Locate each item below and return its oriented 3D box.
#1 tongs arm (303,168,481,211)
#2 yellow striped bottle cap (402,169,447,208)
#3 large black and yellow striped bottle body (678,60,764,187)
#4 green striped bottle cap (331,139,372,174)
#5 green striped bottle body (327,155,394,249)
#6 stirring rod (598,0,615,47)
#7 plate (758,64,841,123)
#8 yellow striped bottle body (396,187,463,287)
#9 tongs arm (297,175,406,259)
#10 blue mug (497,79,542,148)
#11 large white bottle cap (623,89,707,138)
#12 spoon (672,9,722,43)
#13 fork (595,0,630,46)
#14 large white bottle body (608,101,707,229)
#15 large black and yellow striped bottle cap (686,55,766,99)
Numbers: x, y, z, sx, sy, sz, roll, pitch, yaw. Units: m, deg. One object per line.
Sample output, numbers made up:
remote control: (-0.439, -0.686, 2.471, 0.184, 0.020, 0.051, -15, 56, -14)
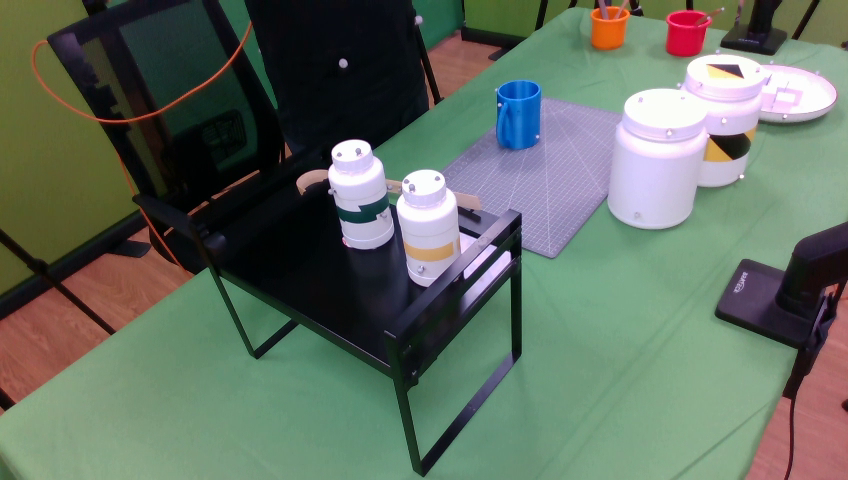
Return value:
tongs arm: (-0.070, -0.086, 1.048, 0.381, 0.026, 0.051, 16, 46, 39)
yellow striped bottle cap: (0.000, -0.052, 0.605, 0.044, 0.019, 0.044, -5, 42, 5)
large black and yellow striped bottle body: (0.482, -0.196, 1.008, 0.131, 0.185, 0.130, -4, 41, 4)
green striped bottle cap: (-0.080, -0.092, 0.665, 0.044, 0.020, 0.044, -3, 41, 3)
green striped bottle body: (-0.073, -0.053, 0.699, 0.063, 0.120, 0.063, -5, 41, 4)
stirring rod: (0.437, -0.551, 1.462, 0.014, 0.006, 0.175, -11, 83, 1)
plate: (0.694, -0.283, 1.189, 0.207, 0.039, 0.206, -4, 40, 4)
yellow striped bottle body: (0.006, -0.013, 0.638, 0.063, 0.121, 0.062, -5, 41, 4)
tongs arm: (-0.127, -0.043, 1.007, 0.028, 0.028, 0.384, -36, 38, -20)
blue mug: (0.174, -0.234, 1.156, 0.081, 0.106, 0.117, 24, 50, 32)
large white bottle cap: (0.352, -0.187, 0.886, 0.115, 0.018, 0.114, -4, 41, 4)
spoon: (0.606, -0.476, 1.345, 0.042, 0.021, 0.193, -6, -3, -2)
fork: (0.480, -0.556, 1.453, 0.028, 0.019, 0.207, 41, 103, 40)
large white bottle body: (0.361, -0.124, 0.941, 0.130, 0.185, 0.130, -5, 41, 4)
large black and yellow striped bottle cap: (0.474, -0.258, 0.952, 0.115, 0.019, 0.114, -5, 41, 5)
